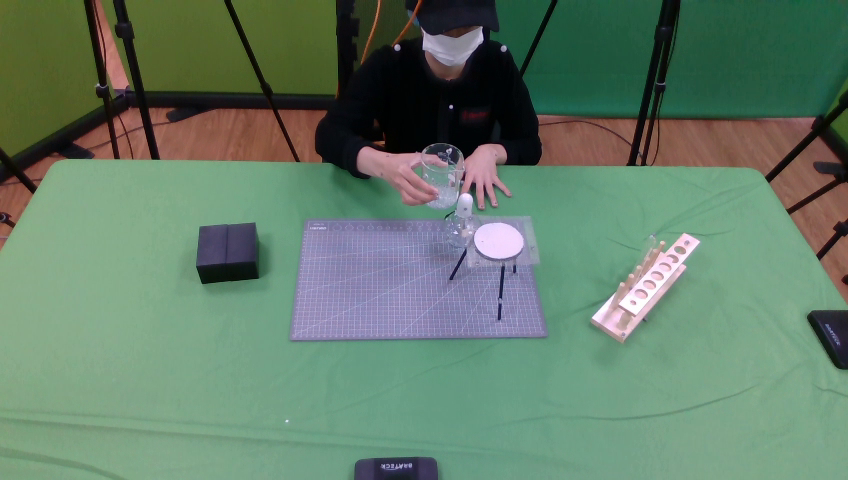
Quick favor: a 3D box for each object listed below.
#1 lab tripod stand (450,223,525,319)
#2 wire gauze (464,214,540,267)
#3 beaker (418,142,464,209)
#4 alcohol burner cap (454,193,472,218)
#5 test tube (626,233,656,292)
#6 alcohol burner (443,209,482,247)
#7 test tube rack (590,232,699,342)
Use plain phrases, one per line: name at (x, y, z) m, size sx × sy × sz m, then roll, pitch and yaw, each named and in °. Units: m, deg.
lab tripod stand at (0.120, 0.046, 1.080) m, size 0.148 × 0.132 × 0.147 m, roll 1°, pitch 47°, yaw -1°
wire gauze at (0.131, -0.002, 1.034) m, size 0.121 × 0.011 × 0.124 m, roll 1°, pitch 45°, yaw -2°
beaker at (0.031, -0.110, 1.073) m, size 0.084 × 0.101 × 0.074 m, roll 26°, pitch 54°, yaw 17°
alcohol burner cap at (0.076, -0.068, 1.151) m, size 0.034 × 0.048 × 0.033 m, roll 4°, pitch 47°, yaw -4°
test tube at (0.384, 0.042, 1.078) m, size 0.017 × 0.151 × 0.017 m, roll 1°, pitch 47°, yaw -1°
alcohol burner at (0.075, -0.044, 1.177) m, size 0.078 × 0.120 × 0.077 m, roll 1°, pitch 44°, yaw -1°
test tube rack at (0.407, 0.074, 1.112) m, size 0.066 × 0.085 × 0.242 m, roll 35°, pitch 53°, yaw 26°
